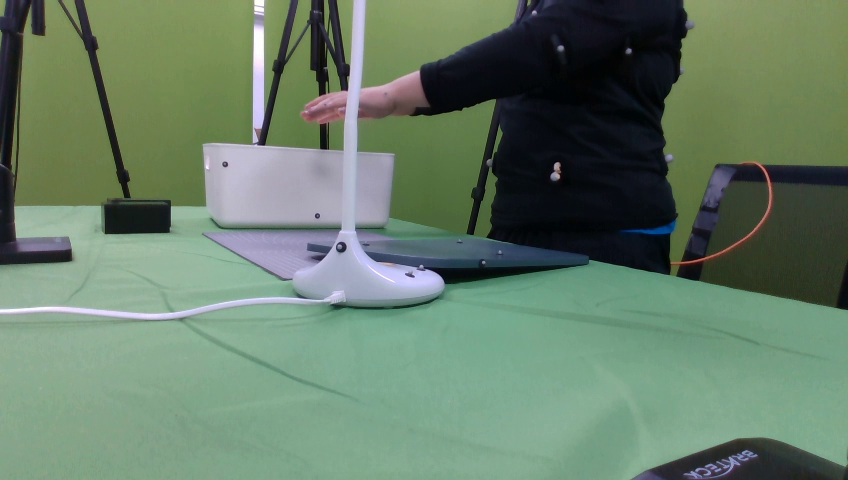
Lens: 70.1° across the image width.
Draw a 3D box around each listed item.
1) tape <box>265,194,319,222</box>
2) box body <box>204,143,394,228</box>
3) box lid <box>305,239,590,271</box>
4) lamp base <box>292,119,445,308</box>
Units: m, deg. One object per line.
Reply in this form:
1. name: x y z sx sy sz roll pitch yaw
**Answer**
1. tape: -0.284 -0.069 1.298 0.117 0.052 0.117 3 7 0
2. box body: -0.271 -0.117 1.291 0.366 0.160 0.253 -1 8 -25
3. box lid: 0.042 0.018 0.879 0.262 0.015 0.374 7 5 44
4. lamp base: -0.056 -0.030 0.616 0.160 0.180 0.179 3 10 8
